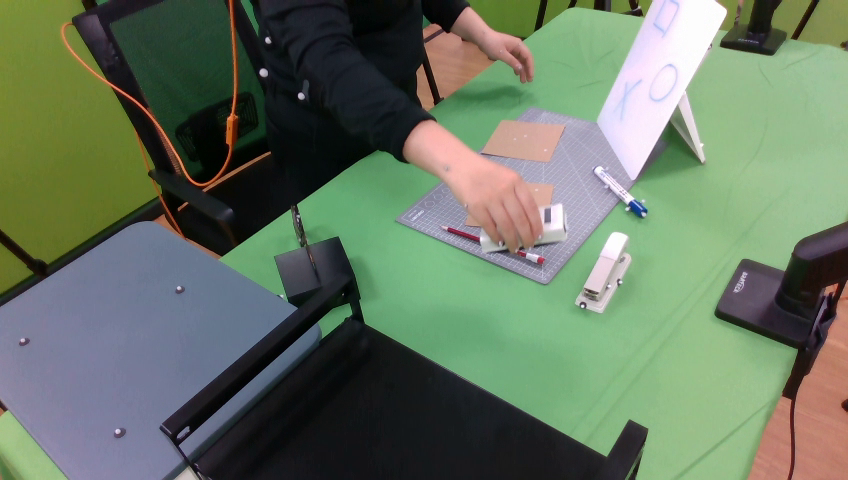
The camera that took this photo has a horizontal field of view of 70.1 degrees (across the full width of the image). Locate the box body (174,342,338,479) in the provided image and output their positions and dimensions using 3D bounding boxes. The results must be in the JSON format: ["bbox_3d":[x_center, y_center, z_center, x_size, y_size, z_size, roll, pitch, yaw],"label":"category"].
[{"bbox_3d":[-0.311,0.165,0.720,0.361,0.161,0.255,23,49,32],"label":"box body"}]

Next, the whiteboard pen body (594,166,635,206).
[{"bbox_3d":[0.330,-0.085,1.027,0.017,0.017,0.139,-16,41,-10],"label":"whiteboard pen body"}]

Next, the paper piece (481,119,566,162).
[{"bbox_3d":[0.197,-0.199,1.188,0.135,0.004,0.135,10,45,22],"label":"paper piece"}]

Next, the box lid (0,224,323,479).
[{"bbox_3d":[-0.318,0.109,0.671,0.368,0.015,0.264,24,49,31],"label":"box lid"}]

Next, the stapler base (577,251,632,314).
[{"bbox_3d":[0.264,0.051,0.875,0.041,0.024,0.131,16,47,30],"label":"stapler base"}]

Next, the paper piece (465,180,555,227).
[{"bbox_3d":[0.149,-0.062,1.035,0.137,0.009,0.136,5,38,16],"label":"paper piece"}]

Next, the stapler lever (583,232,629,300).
[{"bbox_3d":[0.260,0.034,0.858,0.026,0.040,0.118,16,46,30],"label":"stapler lever"}]

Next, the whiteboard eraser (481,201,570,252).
[{"bbox_3d":[0.133,-0.015,0.793,0.112,0.042,0.055,-11,35,19],"label":"whiteboard eraser"}]

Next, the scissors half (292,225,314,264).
[{"bbox_3d":[-0.188,0.007,0.954,0.013,0.040,0.174,-22,22,-12],"label":"scissors half"}]

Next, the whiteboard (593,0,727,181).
[{"bbox_3d":[0.453,-0.272,1.056,0.144,0.305,0.216,9,38,-12],"label":"whiteboard"}]

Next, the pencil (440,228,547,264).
[{"bbox_3d":[0.105,0.007,0.958,0.192,0.012,0.012,18,46,30],"label":"pencil"}]

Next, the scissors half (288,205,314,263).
[{"bbox_3d":[-0.191,-0.010,0.944,0.013,0.040,0.173,-17,37,-15],"label":"scissors half"}]

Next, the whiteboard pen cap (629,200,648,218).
[{"bbox_3d":[0.348,-0.052,0.983,0.018,0.018,0.033,-18,42,-12],"label":"whiteboard pen cap"}]
